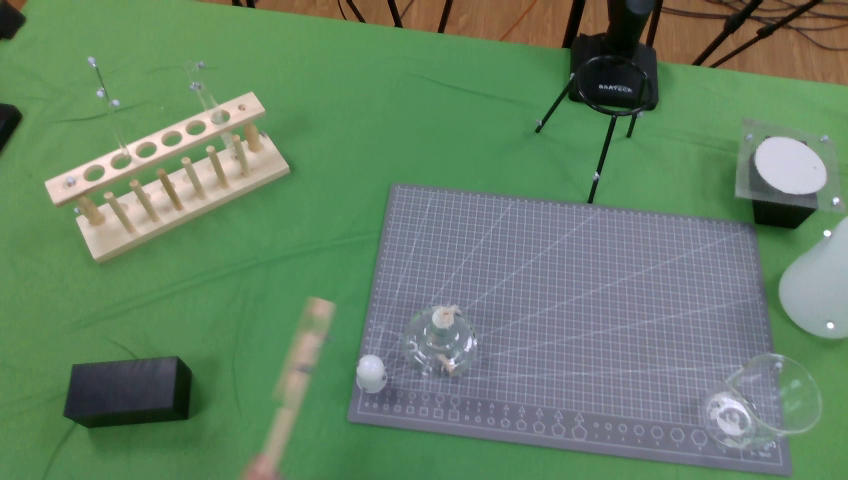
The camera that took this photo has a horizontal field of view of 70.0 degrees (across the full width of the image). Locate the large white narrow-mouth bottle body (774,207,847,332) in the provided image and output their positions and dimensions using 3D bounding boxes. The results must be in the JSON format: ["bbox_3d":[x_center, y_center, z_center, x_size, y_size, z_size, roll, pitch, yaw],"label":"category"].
[{"bbox_3d":[0.452,0.016,0.617,0.102,0.196,0.101,1,60,-1],"label":"large white narrow-mouth bottle body"}]

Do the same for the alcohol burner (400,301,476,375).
[{"bbox_3d":[0.016,0.091,0.603,0.078,0.120,0.077,2,60,-3],"label":"alcohol burner"}]

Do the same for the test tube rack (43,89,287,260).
[{"bbox_3d":[-0.289,-0.077,0.703,0.242,0.086,0.066,-30,66,-17],"label":"test tube rack"}]

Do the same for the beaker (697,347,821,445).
[{"bbox_3d":[0.315,0.154,0.587,0.084,0.101,0.073,12,61,6],"label":"beaker"}]

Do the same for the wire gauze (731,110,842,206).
[{"bbox_3d":[0.434,-0.098,0.729,0.121,0.011,0.124,14,61,6],"label":"wire gauze"}]

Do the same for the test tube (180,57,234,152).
[{"bbox_3d":[-0.241,-0.148,0.688,0.017,0.151,0.017,-1,62,2],"label":"test tube"}]

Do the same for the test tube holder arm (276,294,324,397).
[{"bbox_3d":[-0.100,0.087,0.494,0.010,0.015,0.087,19,82,2],"label":"test tube holder arm"}]

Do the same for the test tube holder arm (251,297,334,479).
[{"bbox_3d":[-0.110,0.131,0.488,0.013,0.015,0.178,19,82,2],"label":"test tube holder arm"}]

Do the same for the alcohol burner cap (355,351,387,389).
[{"bbox_3d":[-0.056,0.131,0.619,0.034,0.048,0.033,0,61,0],"label":"alcohol burner cap"}]

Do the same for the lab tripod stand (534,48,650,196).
[{"bbox_3d":[0.209,-0.148,0.733,0.148,0.132,0.147,2,62,-3],"label":"lab tripod stand"}]

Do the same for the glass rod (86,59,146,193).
[{"bbox_3d":[-0.323,-0.108,0.644,0.008,0.201,0.008,4,53,-4],"label":"glass rod"}]
